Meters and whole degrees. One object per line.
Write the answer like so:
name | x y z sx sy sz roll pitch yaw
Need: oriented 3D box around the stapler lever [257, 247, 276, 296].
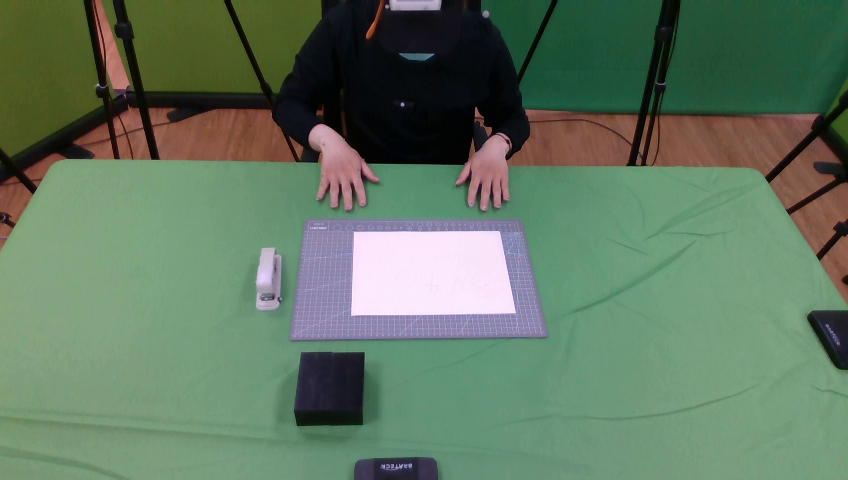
stapler lever | -0.283 0.050 1.090 0.027 0.040 0.117 -2 45 -9

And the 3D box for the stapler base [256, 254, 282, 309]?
stapler base | -0.284 0.069 1.107 0.041 0.024 0.129 -2 45 -9
